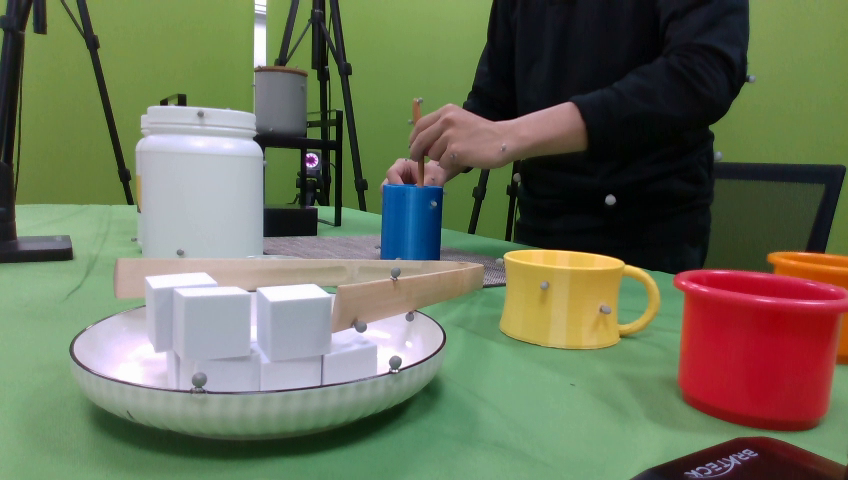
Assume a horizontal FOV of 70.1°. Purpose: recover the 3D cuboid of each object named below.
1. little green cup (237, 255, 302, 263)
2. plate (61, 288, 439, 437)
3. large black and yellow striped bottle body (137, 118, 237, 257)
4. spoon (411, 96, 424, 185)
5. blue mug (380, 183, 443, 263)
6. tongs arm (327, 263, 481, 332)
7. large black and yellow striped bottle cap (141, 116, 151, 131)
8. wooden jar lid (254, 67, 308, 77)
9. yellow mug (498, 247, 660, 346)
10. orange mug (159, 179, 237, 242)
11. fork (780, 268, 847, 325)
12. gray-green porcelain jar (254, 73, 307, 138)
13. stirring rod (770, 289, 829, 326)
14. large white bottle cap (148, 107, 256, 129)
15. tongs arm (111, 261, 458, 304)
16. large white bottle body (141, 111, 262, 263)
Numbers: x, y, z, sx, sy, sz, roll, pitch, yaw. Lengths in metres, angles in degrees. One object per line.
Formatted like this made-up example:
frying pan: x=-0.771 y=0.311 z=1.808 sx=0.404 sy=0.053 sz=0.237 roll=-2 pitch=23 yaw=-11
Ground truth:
little green cup: x=-0.150 y=0.038 z=0.590 sx=0.061 sy=0.038 sz=0.061 roll=3 pitch=6 yaw=0
plate: x=-0.095 y=0.069 z=0.362 sx=0.208 sy=0.039 sz=0.207 roll=3 pitch=7 yaw=0
large black and yellow striped bottle body: x=-0.330 y=-0.075 z=0.849 sx=0.131 sy=0.184 sz=0.130 roll=2 pitch=8 yaw=0
spoon: x=-0.008 y=-0.093 z=0.806 sx=0.022 sy=0.193 sz=0.041 roll=-3 pitch=5 yaw=-31
blue mug: x=-0.019 y=-0.025 z=0.833 sx=0.082 sy=0.106 sz=0.116 roll=1 pitch=7 yaw=-7
tongs arm: x=-0.003 y=0.036 z=0.493 sx=0.050 sy=0.026 sz=0.386 roll=1 pitch=0 yaw=19
large black and yellow striped bottle cap: x=-0.328 y=-0.158 z=0.837 sx=0.115 sy=0.019 sz=0.115 roll=2 pitch=6 yaw=0
wooden jar lid: x=-0.296 y=-0.339 z=1.251 sx=0.108 sy=0.020 sz=0.108 roll=1 pitch=7 yaw=0
yellow mug: x=0.130 y=0.045 z=0.508 sx=0.131 sy=0.064 sz=0.100 roll=4 pitch=7 yaw=6
orange mug: x=-0.368 y=-0.051 z=0.991 sx=0.127 sy=0.101 sz=0.083 roll=-10 pitch=14 yaw=-41
fork: x=0.324 y=0.018 z=0.441 sx=0.028 sy=0.018 sz=0.207 roll=-3 pitch=-36 yaw=-5
gray-green porcelain jar: x=-0.298 y=-0.277 z=1.259 sx=0.106 sy=0.126 sz=0.106 roll=3 pitch=7 yaw=0
stirring rod: x=0.349 y=0.022 z=0.468 sx=0.014 sy=0.006 sz=0.175 roll=-12 pitch=-26 yaw=-50
large white bottle cap: x=-0.250 y=-0.137 z=0.686 sx=0.115 sy=0.018 sz=0.115 roll=3 pitch=8 yaw=0
tongs arm: x=-0.080 y=0.032 z=0.527 sx=0.028 sy=0.027 sz=0.389 roll=-3 pitch=-3 yaw=33
large white bottle body: x=-0.254 y=-0.053 z=0.697 sx=0.131 sy=0.184 sz=0.130 roll=2 pitch=7 yaw=0
